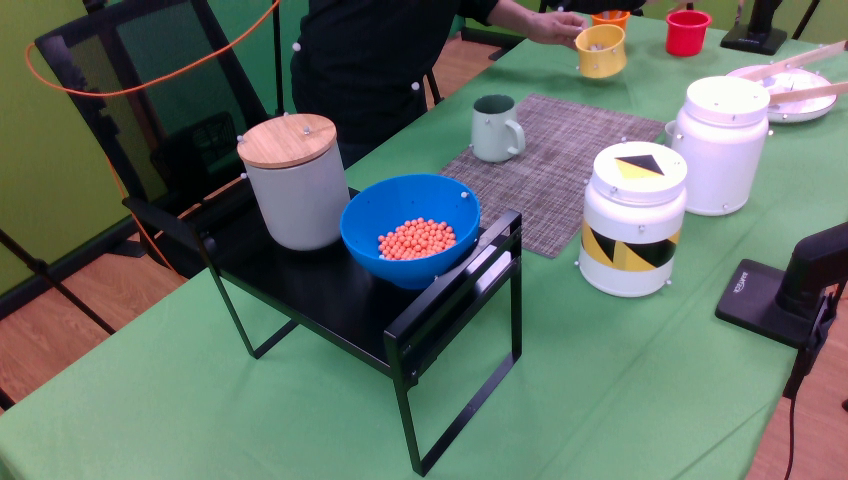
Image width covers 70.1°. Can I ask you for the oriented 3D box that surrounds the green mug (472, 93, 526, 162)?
[{"bbox_3d":[0.144,-0.202,1.122,0.093,0.105,0.124,-29,45,-23],"label":"green mug"}]

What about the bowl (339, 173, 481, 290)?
[{"bbox_3d":[-0.011,0.001,0.660,0.151,0.077,0.150,-5,41,5],"label":"bowl"}]

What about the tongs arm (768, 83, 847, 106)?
[{"bbox_3d":[0.738,-0.282,1.134,0.388,0.028,0.028,-9,47,-5],"label":"tongs arm"}]

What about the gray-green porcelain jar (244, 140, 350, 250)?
[{"bbox_3d":[-0.144,-0.060,0.714,0.106,0.127,0.105,-4,41,4],"label":"gray-green porcelain jar"}]

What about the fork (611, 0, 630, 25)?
[{"bbox_3d":[0.481,-0.556,1.452,0.028,0.019,0.207,40,103,38],"label":"fork"}]

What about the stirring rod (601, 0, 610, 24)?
[{"bbox_3d":[0.439,-0.552,1.463,0.014,0.006,0.175,-7,83,2],"label":"stirring rod"}]

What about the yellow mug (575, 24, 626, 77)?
[{"bbox_3d":[0.367,-0.410,1.290,0.100,0.064,0.129,-31,45,-7],"label":"yellow mug"}]

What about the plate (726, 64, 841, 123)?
[{"bbox_3d":[0.694,-0.282,1.189,0.207,0.039,0.206,-4,40,4],"label":"plate"}]

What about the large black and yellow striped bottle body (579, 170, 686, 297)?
[{"bbox_3d":[0.287,-0.027,0.841,0.131,0.185,0.130,-4,40,4],"label":"large black and yellow striped bottle body"}]

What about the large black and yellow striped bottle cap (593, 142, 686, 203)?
[{"bbox_3d":[0.280,-0.090,0.786,0.115,0.019,0.114,-5,41,5],"label":"large black and yellow striped bottle cap"}]

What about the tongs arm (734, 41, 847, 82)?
[{"bbox_3d":[0.712,-0.332,1.194,0.386,0.026,0.050,-18,45,-16],"label":"tongs arm"}]

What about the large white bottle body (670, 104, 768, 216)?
[{"bbox_3d":[0.458,-0.146,0.952,0.130,0.185,0.130,-4,40,4],"label":"large white bottle body"}]

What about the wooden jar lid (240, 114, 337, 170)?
[{"bbox_3d":[-0.149,-0.106,0.674,0.108,0.021,0.108,-6,38,5],"label":"wooden jar lid"}]

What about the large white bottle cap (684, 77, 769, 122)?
[{"bbox_3d":[0.448,-0.209,0.897,0.115,0.018,0.114,-4,40,4],"label":"large white bottle cap"}]

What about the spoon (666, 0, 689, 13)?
[{"bbox_3d":[0.575,-0.539,1.250,0.042,0.193,0.021,-31,78,-35],"label":"spoon"}]

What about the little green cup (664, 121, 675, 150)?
[{"bbox_3d":[0.472,-0.188,1.113,0.061,0.039,0.061,-4,40,4],"label":"little green cup"}]
